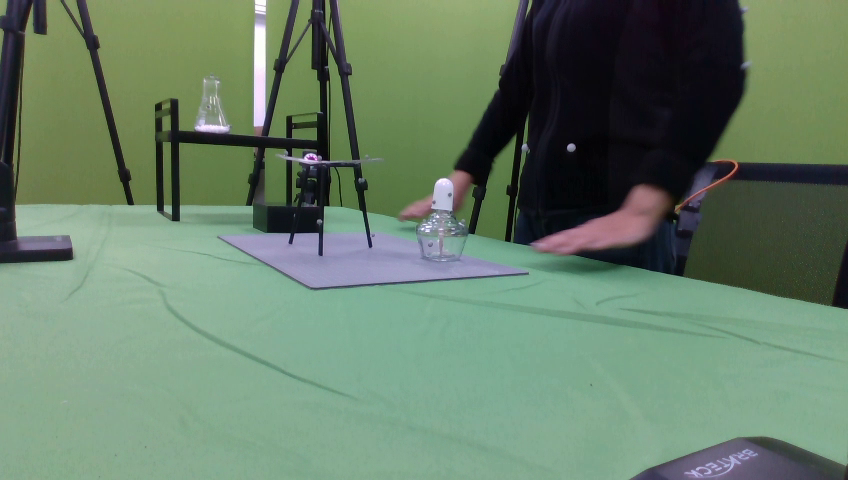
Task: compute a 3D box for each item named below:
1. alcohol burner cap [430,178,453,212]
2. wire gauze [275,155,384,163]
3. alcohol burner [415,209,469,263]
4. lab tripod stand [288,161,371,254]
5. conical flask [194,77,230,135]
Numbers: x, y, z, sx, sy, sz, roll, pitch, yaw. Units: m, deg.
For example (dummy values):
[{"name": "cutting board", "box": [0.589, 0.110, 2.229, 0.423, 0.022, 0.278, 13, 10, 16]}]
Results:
[{"name": "alcohol burner cap", "box": [0.027, -0.064, 0.858, 0.034, 0.048, 0.034, 4, 4, 0]}, {"name": "wire gauze", "box": [-0.142, -0.118, 0.900, 0.122, 0.011, 0.124, -3, 8, -37]}, {"name": "alcohol burner", "box": [0.025, -0.028, 0.863, 0.078, 0.119, 0.078, 1, 6, 0]}, {"name": "lab tripod stand", "box": [-0.148, -0.052, 0.909, 0.148, 0.131, 0.148, 1, 8, 0]}, {"name": "conical flask", "box": [-0.461, -0.292, 1.317, 0.075, 0.122, 0.075, 2, 7, 0]}]
